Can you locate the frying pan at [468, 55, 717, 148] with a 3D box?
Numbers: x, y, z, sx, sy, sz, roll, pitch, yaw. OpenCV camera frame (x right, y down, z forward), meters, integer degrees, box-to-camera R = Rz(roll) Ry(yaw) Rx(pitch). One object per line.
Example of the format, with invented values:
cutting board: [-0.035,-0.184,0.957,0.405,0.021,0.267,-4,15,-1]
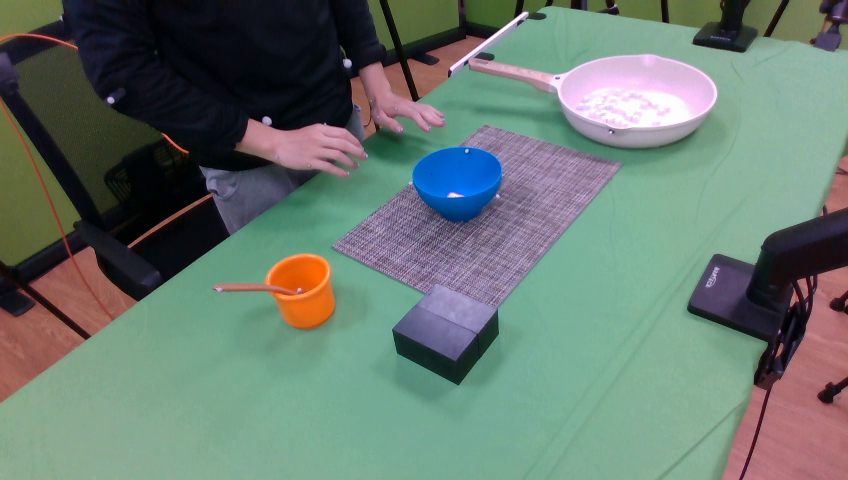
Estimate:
frying pan: [0.316,-0.304,1.213,0.485,0.103,0.307,20,46,17]

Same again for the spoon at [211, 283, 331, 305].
spoon: [-0.201,0.069,0.819,0.041,0.195,0.021,33,99,37]

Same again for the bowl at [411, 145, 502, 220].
bowl: [0.057,-0.086,1.010,0.151,0.077,0.150,-4,41,4]
